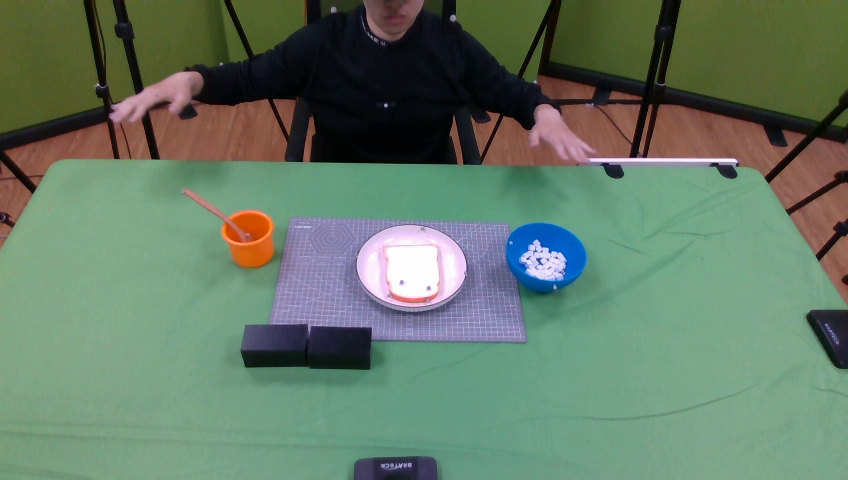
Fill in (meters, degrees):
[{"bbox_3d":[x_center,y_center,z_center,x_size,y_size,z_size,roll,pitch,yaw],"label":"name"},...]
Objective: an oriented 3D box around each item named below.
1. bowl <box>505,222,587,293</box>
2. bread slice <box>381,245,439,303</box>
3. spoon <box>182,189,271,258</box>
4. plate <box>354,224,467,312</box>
[{"bbox_3d":[0.221,0.045,1.132,0.151,0.077,0.150,2,46,-2],"label":"bowl"},{"bbox_3d":[-0.022,0.061,1.126,0.107,0.018,0.133,-3,45,-8],"label":"bread slice"},{"bbox_3d":[-0.361,-0.032,1.113,0.021,0.194,0.041,-27,30,35],"label":"spoon"},{"bbox_3d":[-0.025,0.055,1.128,0.209,0.038,0.208,3,46,-2],"label":"plate"}]
